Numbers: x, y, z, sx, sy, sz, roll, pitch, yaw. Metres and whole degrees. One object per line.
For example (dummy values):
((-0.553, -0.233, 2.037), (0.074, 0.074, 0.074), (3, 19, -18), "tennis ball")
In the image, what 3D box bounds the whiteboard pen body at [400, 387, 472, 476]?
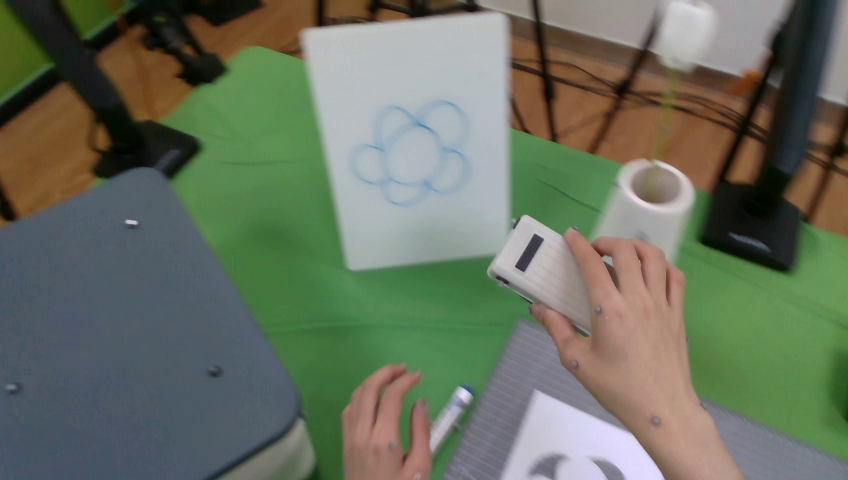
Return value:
((0.009, 0.213, 0.646), (0.017, 0.017, 0.140), (29, 56, 22), "whiteboard pen body")

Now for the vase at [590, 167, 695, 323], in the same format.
((0.240, 0.010, 0.687), (0.098, 0.202, 0.097), (-1, 51, 1), "vase")

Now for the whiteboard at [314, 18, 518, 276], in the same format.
((-0.005, -0.130, 0.770), (0.217, 0.308, 0.142), (-6, 33, -3), "whiteboard")

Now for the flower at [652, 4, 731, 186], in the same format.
((0.239, -0.053, 0.631), (0.044, 0.364, 0.038), (16, 37, 17), "flower")

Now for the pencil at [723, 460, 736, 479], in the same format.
((0.293, 0.306, 0.575), (0.012, 0.012, 0.192), (11, 55, 10), "pencil")

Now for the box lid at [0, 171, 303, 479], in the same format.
((-0.304, 0.089, 0.560), (0.263, 0.015, 0.367), (-29, 57, -20), "box lid")

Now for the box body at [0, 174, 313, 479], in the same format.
((-0.301, 0.136, 0.618), (0.254, 0.162, 0.360), (-29, 57, -20), "box body")

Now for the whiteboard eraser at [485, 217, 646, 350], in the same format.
((0.108, 0.033, 0.469), (0.112, 0.042, 0.055), (32, 83, 5), "whiteboard eraser")

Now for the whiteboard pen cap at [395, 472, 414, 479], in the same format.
((-0.024, 0.250, 0.615), (0.018, 0.018, 0.033), (28, 53, 21), "whiteboard pen cap")
